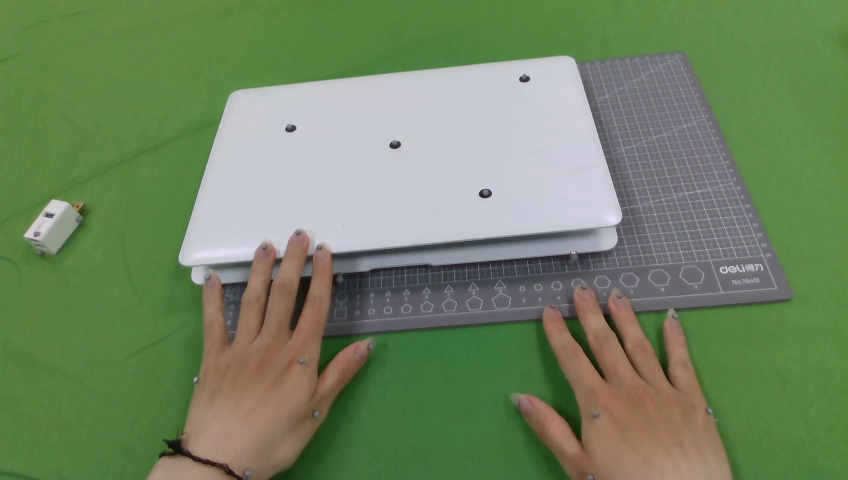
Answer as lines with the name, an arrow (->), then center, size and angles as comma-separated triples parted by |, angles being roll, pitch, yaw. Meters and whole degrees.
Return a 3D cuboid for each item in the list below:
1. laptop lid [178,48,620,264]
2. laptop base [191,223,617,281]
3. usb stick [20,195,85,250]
laptop lid -> -0.026, -0.086, 0.540 | 0.356, 0.013, 0.239 | -4, 50, 5
laptop base -> -0.023, -0.073, 0.560 | 0.354, 0.023, 0.233 | -5, 57, 4
usb stick -> -0.340, -0.022, 0.559 | 0.021, 0.027, 0.059 | 10, 53, 17
